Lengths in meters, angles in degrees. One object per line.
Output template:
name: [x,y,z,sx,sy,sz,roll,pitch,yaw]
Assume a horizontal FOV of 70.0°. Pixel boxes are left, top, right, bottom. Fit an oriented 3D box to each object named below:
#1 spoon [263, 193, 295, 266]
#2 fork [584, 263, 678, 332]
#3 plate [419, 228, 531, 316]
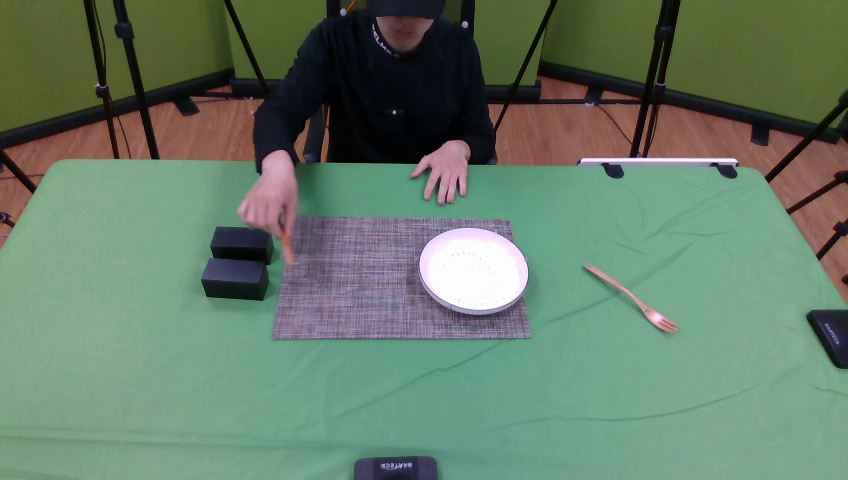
spoon: [-0.257,-0.022,1.091,0.042,0.022,0.192,3,37,-28]
fork: [0.380,0.103,1.130,0.028,0.019,0.206,-34,58,-23]
plate: [0.093,0.062,1.131,0.208,0.039,0.206,2,46,-2]
